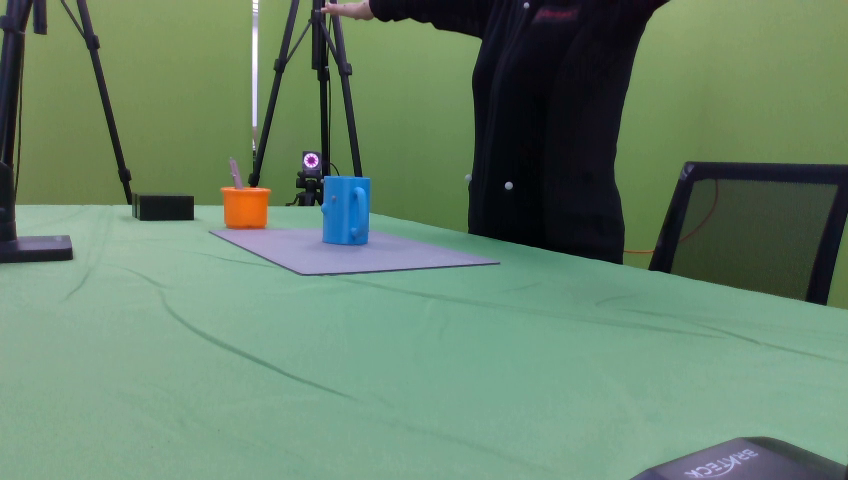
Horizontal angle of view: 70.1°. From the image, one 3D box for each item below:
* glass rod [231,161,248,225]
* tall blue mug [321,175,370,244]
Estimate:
[{"bbox_3d":[-0.355,-0.093,1.161,0.008,0.008,0.199,-1,42,-26],"label":"glass rod"},{"bbox_3d":[-0.116,-0.049,0.990,0.106,0.108,0.078,7,8,33],"label":"tall blue mug"}]
